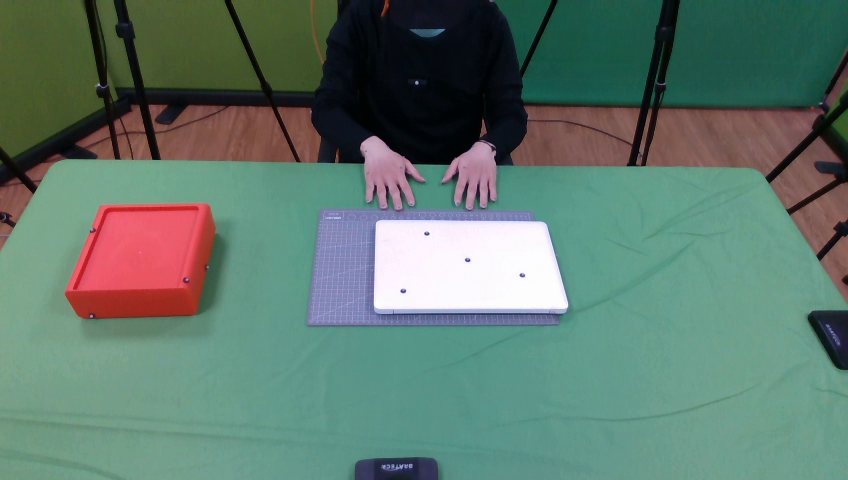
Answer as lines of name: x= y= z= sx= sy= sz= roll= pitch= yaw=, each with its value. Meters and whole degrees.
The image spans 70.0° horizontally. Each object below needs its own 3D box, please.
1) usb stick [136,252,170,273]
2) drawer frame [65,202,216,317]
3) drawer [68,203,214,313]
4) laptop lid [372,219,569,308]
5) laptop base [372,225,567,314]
usb stick: x=-0.498 y=0.040 z=1.106 sx=0.059 sy=0.027 sz=0.021 roll=11 pitch=46 yaw=6
drawer frame: x=-0.497 y=0.029 z=1.090 sx=0.202 sy=0.083 sz=0.212 roll=-1 pitch=47 yaw=-6
drawer: x=-0.499 y=0.028 z=1.091 sx=0.195 sy=0.073 sz=0.210 roll=-1 pitch=47 yaw=-6
laptop lid: x=0.081 y=0.039 z=1.152 sx=0.357 sy=0.013 sz=0.240 roll=2 pitch=44 yaw=-3
laptop base: x=0.080 y=0.049 z=1.158 sx=0.355 sy=0.023 sz=0.234 roll=0 pitch=43 yaw=-4
